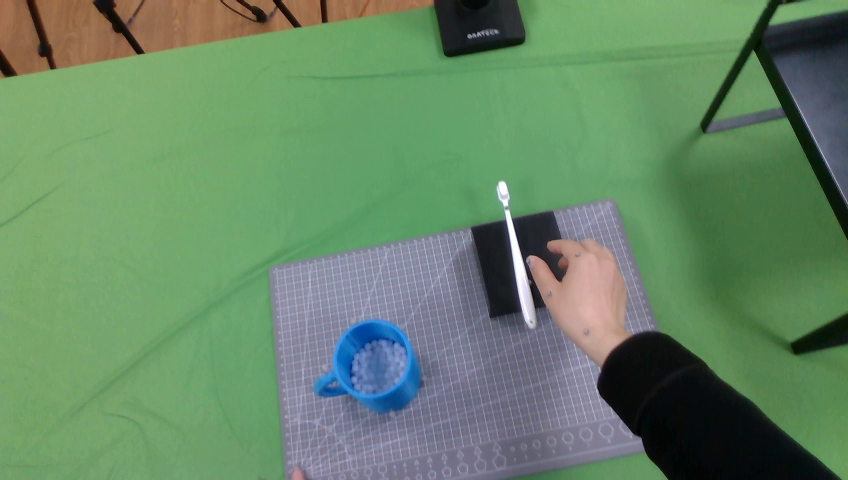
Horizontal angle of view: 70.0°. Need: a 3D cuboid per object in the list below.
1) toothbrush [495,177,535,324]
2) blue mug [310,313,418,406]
[{"bbox_3d":[0.105,0.008,0.695,0.014,0.017,0.180,-3,68,-13],"label":"toothbrush"},{"bbox_3d":[-0.066,0.139,0.661,0.116,0.106,0.081,-19,68,-3],"label":"blue mug"}]
